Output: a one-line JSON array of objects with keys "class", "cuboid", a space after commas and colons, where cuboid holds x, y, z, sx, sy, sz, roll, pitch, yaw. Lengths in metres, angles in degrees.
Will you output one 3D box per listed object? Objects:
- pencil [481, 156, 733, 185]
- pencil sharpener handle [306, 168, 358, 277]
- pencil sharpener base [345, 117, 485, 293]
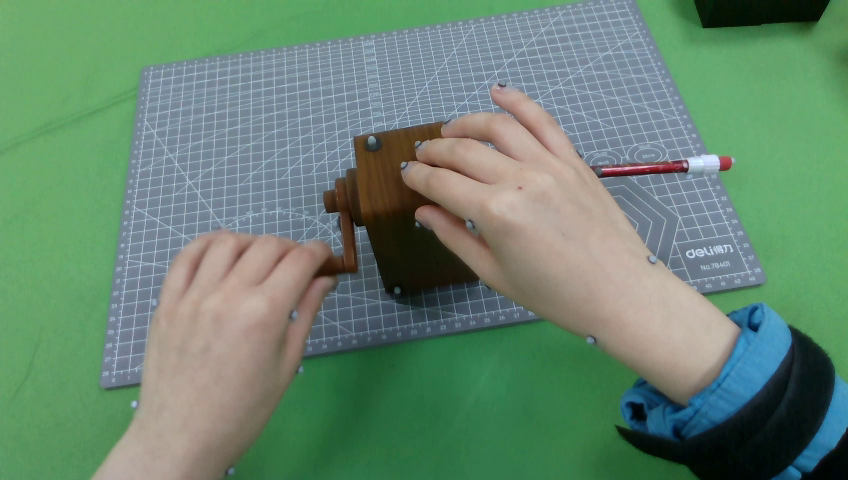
[{"class": "pencil", "cuboid": [0.095, -0.041, 0.371, 0.194, 0.012, 0.012, -4, 59, -5]}, {"class": "pencil sharpener handle", "cuboid": [-0.054, -0.010, 0.355, 0.030, 0.036, 0.067, -10, 59, -1]}, {"class": "pencil sharpener base", "cuboid": [-0.004, -0.017, 0.388, 0.077, 0.108, 0.061, -10, 59, -1]}]
